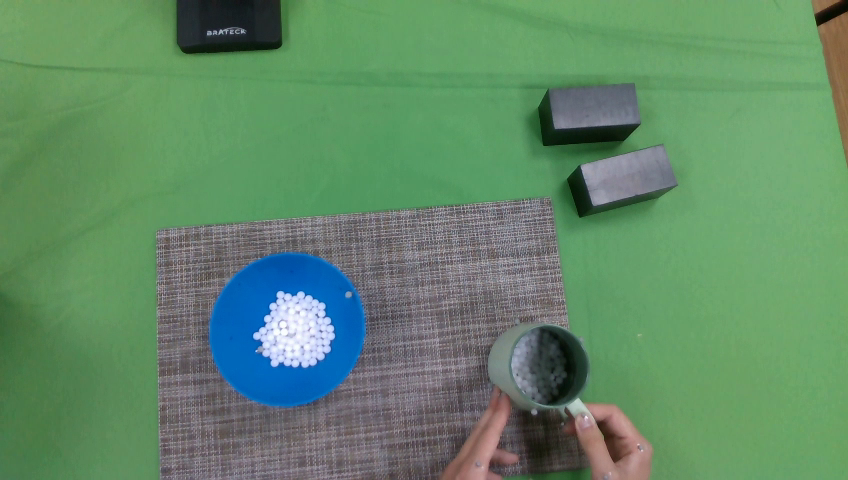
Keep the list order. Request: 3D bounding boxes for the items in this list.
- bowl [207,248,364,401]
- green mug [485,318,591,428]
[{"bbox_3d":[-0.137,0.088,0.626,0.151,0.077,0.150,1,79,-3],"label":"bowl"},{"bbox_3d":[0.124,0.137,0.618,0.092,0.105,0.125,-37,83,-9],"label":"green mug"}]
